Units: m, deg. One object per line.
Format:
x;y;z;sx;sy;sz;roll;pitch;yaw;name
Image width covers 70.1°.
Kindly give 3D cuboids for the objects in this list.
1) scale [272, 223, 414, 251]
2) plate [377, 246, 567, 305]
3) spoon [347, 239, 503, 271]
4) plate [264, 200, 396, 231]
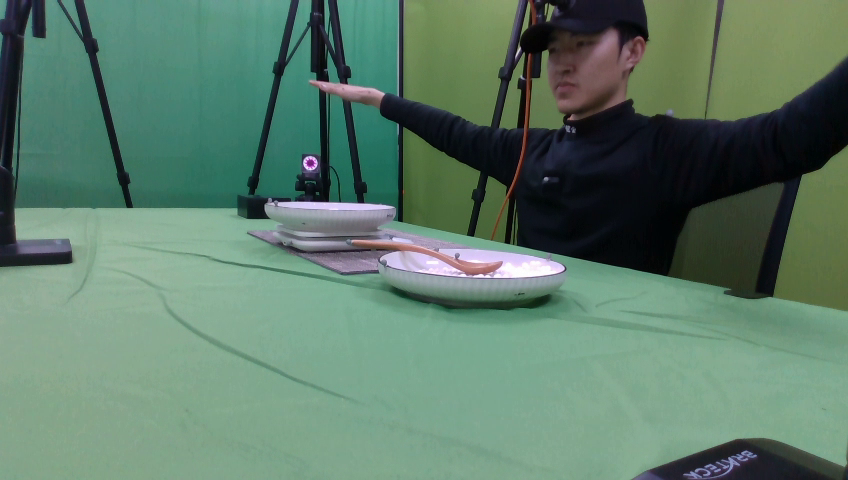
-0.131;-0.008;0.984;0.202;0.031;0.148;-2;8;-32;scale
0.052;0.039;0.671;0.209;0.038;0.209;2;6;0;plate
-0.002;0.014;0.721;0.193;0.021;0.042;12;9;17;spoon
-0.150;-0.040;0.972;0.208;0.039;0.207;2;7;0;plate
